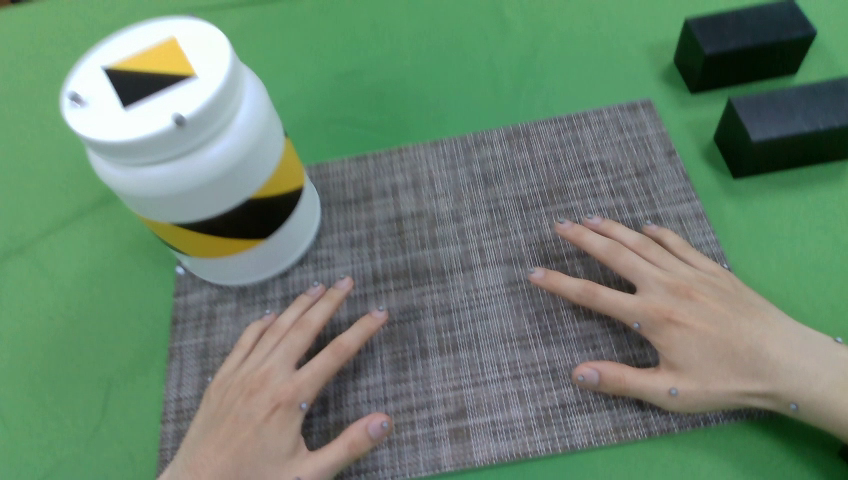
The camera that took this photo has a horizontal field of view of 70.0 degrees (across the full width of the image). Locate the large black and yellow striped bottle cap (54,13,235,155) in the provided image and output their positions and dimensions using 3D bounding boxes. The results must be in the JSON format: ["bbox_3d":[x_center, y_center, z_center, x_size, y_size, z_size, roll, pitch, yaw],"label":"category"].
[{"bbox_3d":[-0.182,-0.105,0.396,0.115,0.019,0.114,-3,58,5],"label":"large black and yellow striped bottle cap"}]

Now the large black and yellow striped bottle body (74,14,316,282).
[{"bbox_3d":[-0.170,-0.063,0.467,0.130,0.186,0.129,-4,59,6],"label":"large black and yellow striped bottle body"}]
